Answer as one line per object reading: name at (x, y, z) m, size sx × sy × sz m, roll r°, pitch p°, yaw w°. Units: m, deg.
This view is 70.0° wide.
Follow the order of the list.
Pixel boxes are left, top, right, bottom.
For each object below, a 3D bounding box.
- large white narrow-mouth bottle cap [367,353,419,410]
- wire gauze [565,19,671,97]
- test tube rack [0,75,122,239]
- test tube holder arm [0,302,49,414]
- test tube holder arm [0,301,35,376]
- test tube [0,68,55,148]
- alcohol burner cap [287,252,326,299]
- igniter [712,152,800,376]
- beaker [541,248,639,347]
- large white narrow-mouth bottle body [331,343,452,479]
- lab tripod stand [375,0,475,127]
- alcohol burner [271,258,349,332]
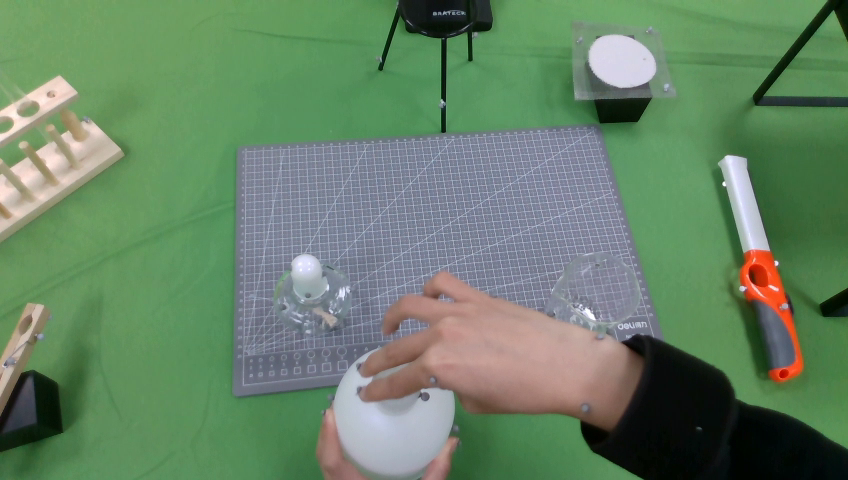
large white narrow-mouth bottle cap at (-0.022, 0.099, 0.428) m, size 0.038 × 0.024 × 0.037 m, roll 2°, pitch 64°, yaw -3°
wire gauze at (0.239, -0.228, 0.757) m, size 0.121 × 0.011 × 0.124 m, roll 2°, pitch 64°, yaw -3°
test tube rack at (-0.456, -0.062, 0.638) m, size 0.066 × 0.086 × 0.242 m, roll 41°, pitch 68°, yaw 15°
test tube holder arm at (-0.375, 0.139, 0.532) m, size 0.013 × 0.015 × 0.177 m, roll 7°, pitch 64°, yaw 6°
test tube holder arm at (-0.374, 0.098, 0.552) m, size 0.010 × 0.015 × 0.087 m, roll 6°, pitch 64°, yaw 5°
test tube at (-0.420, -0.144, 0.625) m, size 0.017 × 0.151 × 0.017 m, roll 0°, pitch 62°, yaw 0°
alcohol burner cap at (-0.110, 0.030, 0.559) m, size 0.034 × 0.048 × 0.033 m, roll 1°, pitch 59°, yaw -1°
igniter at (0.376, 0.019, 0.691) m, size 0.057 × 0.025 × 0.274 m, roll 6°, pitch 63°, yaw -13°
beaker at (0.159, 0.063, 0.611) m, size 0.084 × 0.101 × 0.073 m, roll -3°, pitch 64°, yaw -4°
large white narrow-mouth bottle body at (-0.027, 0.142, 0.510) m, size 0.102 × 0.196 × 0.101 m, roll 1°, pitch 63°, yaw -3°
lab tripod stand at (0.010, -0.232, 0.728) m, size 0.148 × 0.132 × 0.147 m, roll 2°, pitch 65°, yaw -5°
alcohol burner at (-0.112, 0.046, 0.592) m, size 0.078 × 0.120 × 0.077 m, roll 3°, pitch 62°, yaw -5°
